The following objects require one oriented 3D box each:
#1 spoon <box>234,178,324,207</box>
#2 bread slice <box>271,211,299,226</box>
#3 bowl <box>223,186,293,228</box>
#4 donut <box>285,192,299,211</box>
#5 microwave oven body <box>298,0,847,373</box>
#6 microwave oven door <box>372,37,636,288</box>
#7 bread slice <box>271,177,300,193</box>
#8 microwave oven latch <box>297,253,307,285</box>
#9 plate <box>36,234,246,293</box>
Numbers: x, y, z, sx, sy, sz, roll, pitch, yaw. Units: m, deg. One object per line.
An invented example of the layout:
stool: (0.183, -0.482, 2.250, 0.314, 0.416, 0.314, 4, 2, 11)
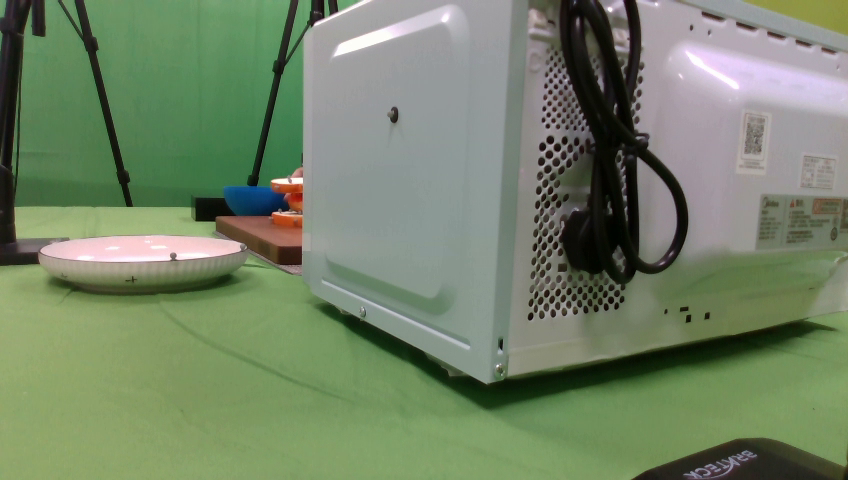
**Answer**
spoon: (-0.300, -0.103, 1.266, 0.194, 0.021, 0.041, -24, 10, -24)
bread slice: (-0.197, -0.039, 1.052, 0.132, 0.019, 0.104, -1, 8, -31)
bowl: (-0.330, -0.068, 1.230, 0.151, 0.077, 0.151, 3, 7, 0)
donut: (-0.191, -0.070, 1.053, 0.099, 0.048, 0.099, 1, 7, 0)
microwave oven body: (0.151, -0.055, 0.542, 0.444, 0.260, 0.324, -2, 7, -33)
microwave oven door: (0.109, -0.080, 0.686, 0.358, 0.243, 0.039, -2, 9, -33)
bread slice: (-0.195, -0.098, 1.047, 0.135, 0.018, 0.106, -9, 13, -33)
microwave oven latch: (-0.081, 0.027, 0.582, 0.079, 0.029, 0.030, -1, 7, -32)
plate: (-0.305, 0.026, 0.668, 0.208, 0.039, 0.207, 3, 7, 0)
